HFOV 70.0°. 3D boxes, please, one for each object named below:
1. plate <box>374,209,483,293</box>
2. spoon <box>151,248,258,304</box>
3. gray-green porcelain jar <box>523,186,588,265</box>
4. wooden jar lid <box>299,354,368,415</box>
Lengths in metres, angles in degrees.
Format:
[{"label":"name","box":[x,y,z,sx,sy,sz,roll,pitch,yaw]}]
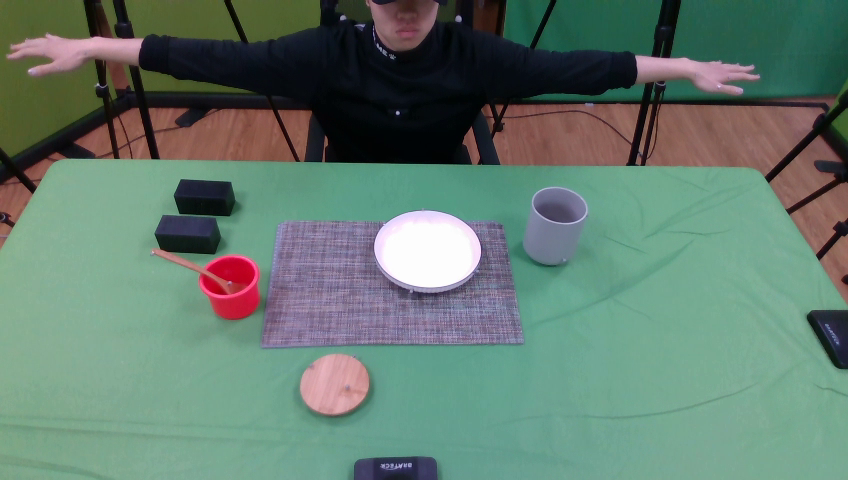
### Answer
[{"label":"plate","box":[0.008,0.024,1.158,0.208,0.039,0.206,2,46,-2]},{"label":"spoon","box":[-0.369,0.058,1.028,0.195,0.021,0.041,36,35,-32]},{"label":"gray-green porcelain jar","box":[0.249,-0.023,1.164,0.106,0.127,0.105,2,46,-2]},{"label":"wooden jar lid","box":[-0.143,0.232,0.964,0.108,0.021,0.107,2,45,-2]}]
